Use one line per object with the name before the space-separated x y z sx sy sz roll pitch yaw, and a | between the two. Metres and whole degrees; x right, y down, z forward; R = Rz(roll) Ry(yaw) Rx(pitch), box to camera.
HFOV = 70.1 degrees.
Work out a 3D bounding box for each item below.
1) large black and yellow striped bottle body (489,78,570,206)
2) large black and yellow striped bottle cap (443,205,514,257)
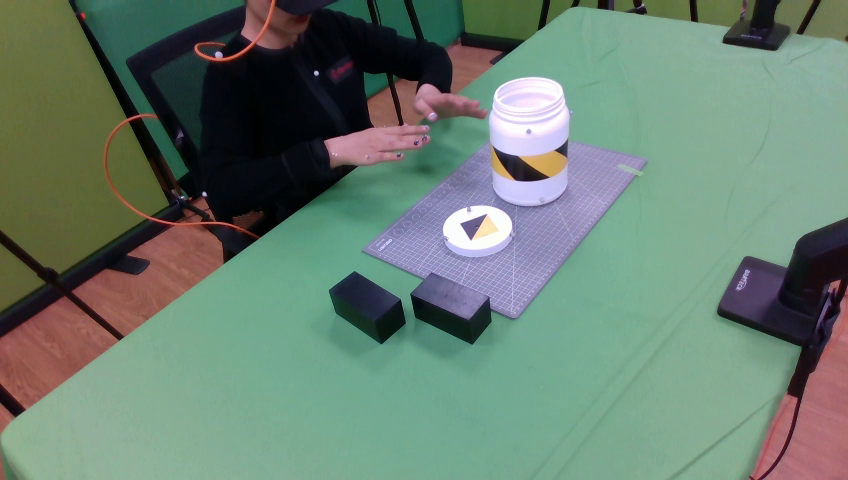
large black and yellow striped bottle body | 0.177 -0.164 1.012 0.131 0.185 0.130 -5 40 5
large black and yellow striped bottle cap | 0.088 -0.016 0.986 0.115 0.019 0.114 -4 41 4
